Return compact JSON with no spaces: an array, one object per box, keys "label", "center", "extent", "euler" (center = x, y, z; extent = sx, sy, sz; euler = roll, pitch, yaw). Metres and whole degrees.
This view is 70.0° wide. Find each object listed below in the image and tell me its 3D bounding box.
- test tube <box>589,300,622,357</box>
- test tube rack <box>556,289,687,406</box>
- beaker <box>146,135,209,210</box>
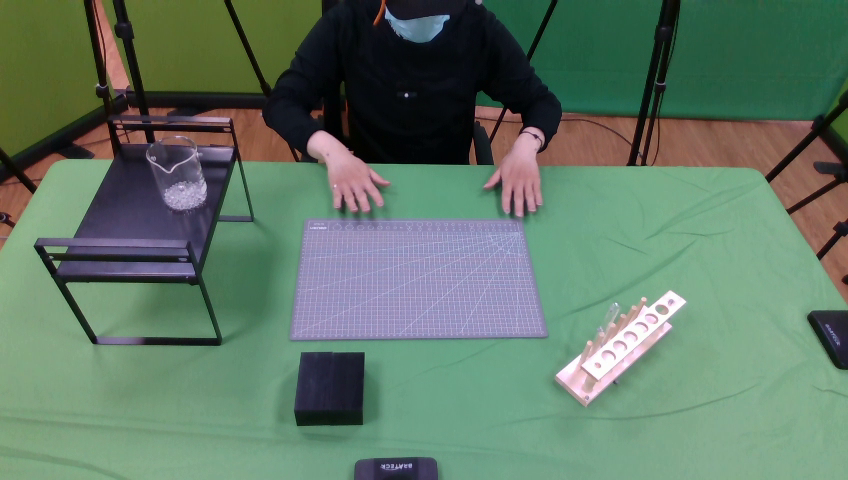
[{"label":"test tube","center":[0.288,0.144,0.970],"extent":[0.017,0.151,0.017],"euler":[2,49,-2]},{"label":"test tube rack","center":[0.332,0.165,1.014],"extent":[0.242,0.085,0.066],"euler":[-31,55,-28]},{"label":"beaker","center":[-0.387,-0.102,0.961],"extent":[0.074,0.101,0.083],"euler":[-5,48,-7]}]
